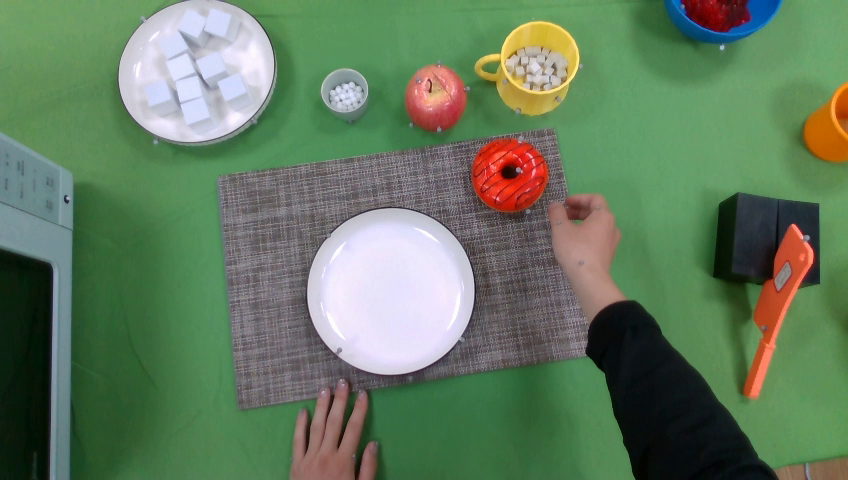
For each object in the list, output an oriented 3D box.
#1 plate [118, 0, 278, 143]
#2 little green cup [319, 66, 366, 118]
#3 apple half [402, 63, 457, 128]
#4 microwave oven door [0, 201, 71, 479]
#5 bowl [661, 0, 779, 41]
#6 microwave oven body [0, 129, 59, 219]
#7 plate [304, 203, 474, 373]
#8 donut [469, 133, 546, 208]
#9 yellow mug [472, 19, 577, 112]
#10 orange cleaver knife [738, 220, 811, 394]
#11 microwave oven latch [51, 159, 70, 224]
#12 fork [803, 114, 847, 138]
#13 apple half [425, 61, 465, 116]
[{"bbox_3d":[-0.297,-0.224,0.809,0.208,0.039,0.206,0,79,0],"label":"plate"},{"bbox_3d":[-0.105,-0.193,0.802,0.061,0.039,0.061,0,79,1],"label":"little green cup"},{"bbox_3d":[0.001,-0.178,0.781,0.053,0.075,0.080,-35,84,-2],"label":"apple half"},{"bbox_3d":[-0.446,0.133,0.618,0.039,0.245,0.354,-6,79,0],"label":"microwave oven door"},{"bbox_3d":[0.379,-0.323,0.804,0.151,0.077,0.150,0,79,1],"label":"bowl"},{"bbox_3d":[-0.595,0.107,0.629,0.326,0.261,0.439,-6,79,-1],"label":"microwave oven body"},{"bbox_3d":[-0.042,0.058,0.749,0.209,0.038,0.208,0,79,1],"label":"plate"},{"bbox_3d":[0.105,-0.089,0.773,0.099,0.048,0.098,0,80,2],"label":"donut"},{"bbox_3d":[0.128,-0.227,0.793,0.131,0.064,0.099,2,79,2],"label":"yellow mug"},{"bbox_3d":[0.408,0.082,0.720,0.012,0.077,0.212,11,111,5],"label":"orange cleaver knife"},{"bbox_3d":[-0.464,-0.060,0.759,0.030,0.029,0.079,-4,80,-1],"label":"microwave oven latch"},{"bbox_3d":[0.579,-0.157,0.733,0.206,0.019,0.028,-11,72,43],"label":"fork"},{"bbox_3d":[0.033,-0.200,0.784,0.033,0.081,0.081,-36,80,-2],"label":"apple half"}]
